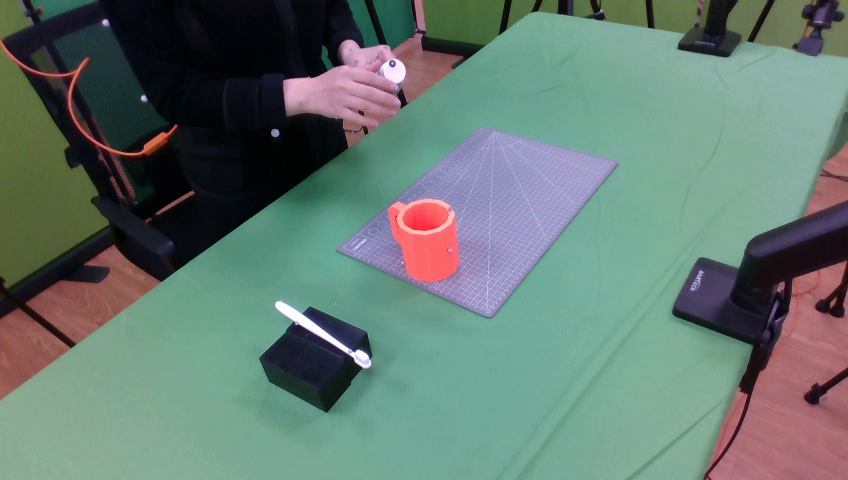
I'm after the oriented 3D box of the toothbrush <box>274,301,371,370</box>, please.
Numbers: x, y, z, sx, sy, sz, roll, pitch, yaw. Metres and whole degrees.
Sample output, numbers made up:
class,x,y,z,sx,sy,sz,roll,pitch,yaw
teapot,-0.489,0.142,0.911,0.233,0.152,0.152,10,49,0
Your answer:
class,x,y,z,sx,sy,sz,roll,pitch,yaw
toothbrush,-0.135,0.119,0.783,0.180,0.017,0.014,25,53,33

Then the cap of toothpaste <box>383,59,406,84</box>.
class,x,y,z,sx,sy,sz,roll,pitch,yaw
cap of toothpaste,-0.045,-0.251,0.902,0.037,0.037,0.011,-24,20,-18

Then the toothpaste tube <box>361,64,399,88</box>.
class,x,y,z,sx,sy,sz,roll,pitch,yaw
toothpaste tube,-0.063,-0.261,0.980,0.055,0.034,0.164,0,8,-15

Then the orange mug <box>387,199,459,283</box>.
class,x,y,z,sx,sy,sz,roll,pitch,yaw
orange mug,-0.006,-0.007,0.923,0.125,0.101,0.084,32,54,32
